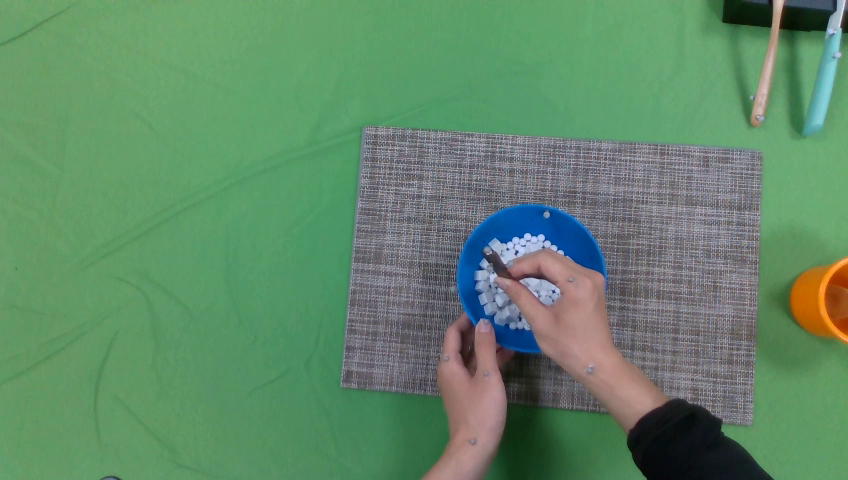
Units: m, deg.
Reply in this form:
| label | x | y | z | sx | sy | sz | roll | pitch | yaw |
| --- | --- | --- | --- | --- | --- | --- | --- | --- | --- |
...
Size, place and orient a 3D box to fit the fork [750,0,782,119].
| label | x | y | z | sx | sy | sz | roll | pitch | yaw |
| --- | --- | --- | --- | --- | --- | --- | --- | --- | --- |
| fork | 0.374 | -0.235 | 0.649 | 0.028 | 0.018 | 0.208 | 2 | 105 | 0 |

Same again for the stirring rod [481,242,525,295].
| label | x | y | z | sx | sy | sz | roll | pitch | yaw |
| --- | --- | --- | --- | --- | --- | --- | --- | --- | --- |
| stirring rod | 0.078 | 0.031 | 0.578 | 0.014 | 0.177 | 0.006 | 11 | 76 | 21 |

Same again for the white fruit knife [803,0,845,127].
| label | x | y | z | sx | sy | sz | roll | pitch | yaw |
| --- | --- | --- | --- | --- | --- | --- | --- | --- | --- |
| white fruit knife | 0.435 | -0.226 | 0.644 | 0.016 | 0.027 | 0.208 | 5 | 102 | 1 |

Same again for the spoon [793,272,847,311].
| label | x | y | z | sx | sy | sz | roll | pitch | yaw |
| --- | --- | --- | --- | --- | --- | --- | --- | --- | --- |
| spoon | 0.470 | 0.056 | 0.590 | 0.022 | 0.192 | 0.041 | 10 | 85 | -41 |

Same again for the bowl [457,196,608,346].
| label | x | y | z | sx | sy | sz | roll | pitch | yaw |
| --- | --- | --- | --- | --- | --- | --- | --- | --- | --- |
| bowl | 0.110 | 0.034 | 0.640 | 0.151 | 0.077 | 0.151 | 0 | 85 | 3 |
